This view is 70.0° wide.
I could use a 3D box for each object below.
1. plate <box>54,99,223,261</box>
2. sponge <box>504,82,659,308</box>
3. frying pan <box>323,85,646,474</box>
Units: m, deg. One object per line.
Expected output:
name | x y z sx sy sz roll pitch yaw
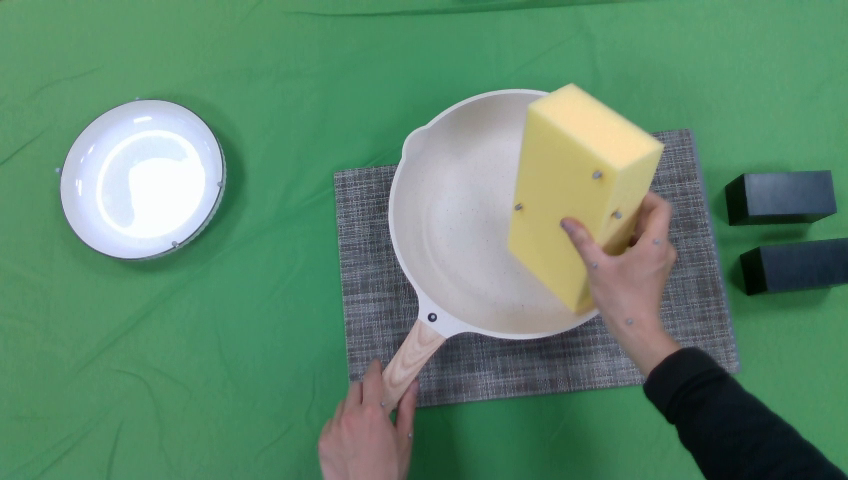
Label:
plate | -0.352 -0.073 0.762 0.207 0.039 0.206 0 79 2
sponge | 0.152 -0.040 0.631 0.061 0.209 0.117 -29 54 -23
frying pan | 0.042 0.046 0.682 0.306 0.103 0.487 35 74 10
